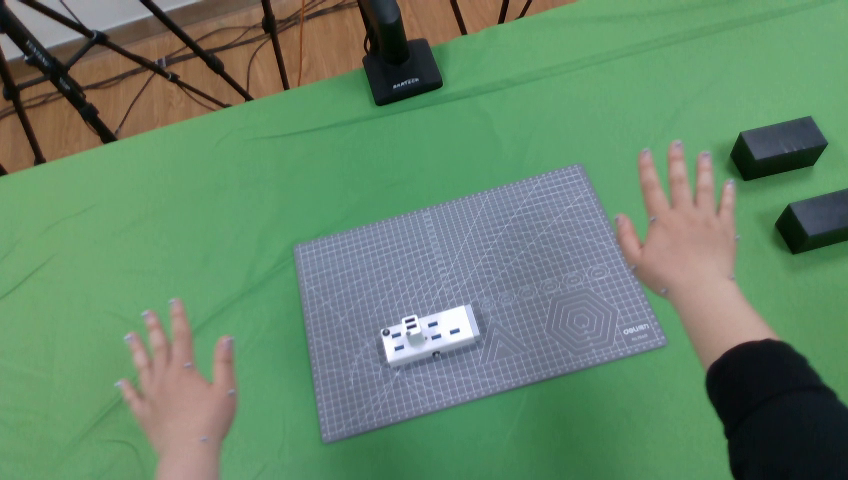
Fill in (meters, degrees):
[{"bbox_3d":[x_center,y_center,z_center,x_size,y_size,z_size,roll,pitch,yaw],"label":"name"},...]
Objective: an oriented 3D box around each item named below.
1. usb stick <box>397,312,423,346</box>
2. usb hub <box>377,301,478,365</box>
[{"bbox_3d":[-0.016,0.116,0.768,0.021,0.060,0.027,-20,58,-2],"label":"usb stick"},{"bbox_3d":[0.004,0.121,0.795,0.125,0.025,0.049,-16,60,0],"label":"usb hub"}]
